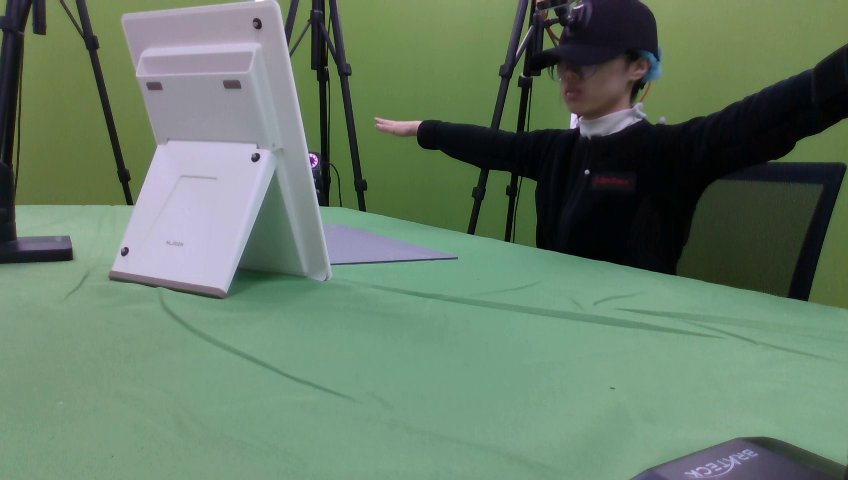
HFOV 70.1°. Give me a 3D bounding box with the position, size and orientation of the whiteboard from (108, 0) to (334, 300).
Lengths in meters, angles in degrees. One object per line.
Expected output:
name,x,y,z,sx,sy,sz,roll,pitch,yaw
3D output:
whiteboard,-0.248,-0.072,0.624,0.216,0.305,0.144,6,28,26

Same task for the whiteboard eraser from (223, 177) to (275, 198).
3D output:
whiteboard eraser,-0.377,-0.113,1.308,0.055,0.042,0.113,7,11,20
